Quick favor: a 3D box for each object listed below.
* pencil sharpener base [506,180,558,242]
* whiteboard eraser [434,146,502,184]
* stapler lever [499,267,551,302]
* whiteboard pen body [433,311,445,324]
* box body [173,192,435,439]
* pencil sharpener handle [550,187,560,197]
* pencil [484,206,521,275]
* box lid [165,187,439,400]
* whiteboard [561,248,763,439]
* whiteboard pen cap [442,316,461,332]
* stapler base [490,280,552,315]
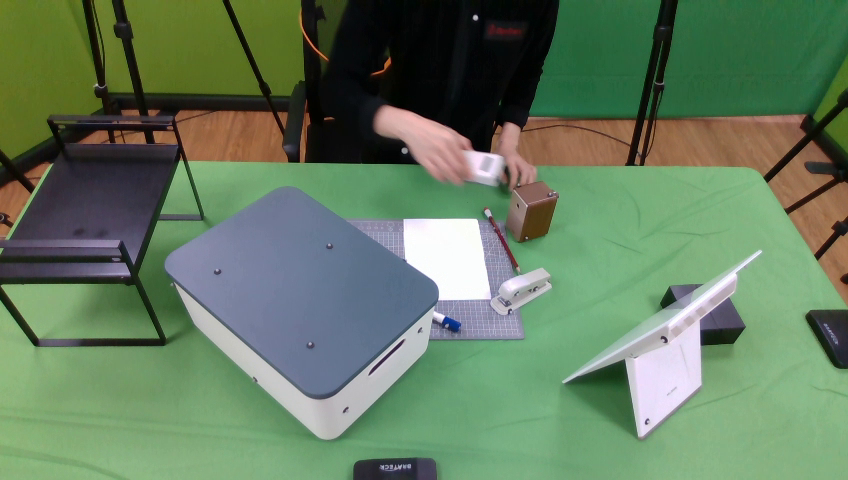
[{"bbox_3d":[0.216,-0.058,1.211,0.077,0.107,0.061,-16,49,-19],"label":"pencil sharpener base"},{"bbox_3d":[0.077,-0.130,1.066,0.112,0.042,0.055,11,59,23],"label":"whiteboard eraser"},{"bbox_3d":[0.185,0.076,1.101,0.118,0.040,0.026,-25,57,-29],"label":"stapler lever"},{"bbox_3d":[-0.004,0.123,1.074,0.140,0.017,0.017,24,49,15],"label":"whiteboard pen body"},{"bbox_3d":[-0.191,0.110,0.979,0.362,0.161,0.254,33,53,24],"label":"box body"},{"bbox_3d":[0.261,-0.084,1.221,0.031,0.068,0.036,-16,66,-19],"label":"pencil sharpener handle"},{"bbox_3d":[0.157,-0.002,1.217,0.012,0.012,0.192,-10,48,-14],"label":"pencil"},{"bbox_3d":[-0.186,0.060,0.925,0.370,0.015,0.263,32,53,25],"label":"box lid"},{"bbox_3d":[0.386,0.176,0.905,0.217,0.306,0.143,-26,72,-27],"label":"whiteboard"},{"bbox_3d":[0.048,0.146,1.059,0.033,0.018,0.018,24,49,16],"label":"whiteboard pen cap"},{"bbox_3d":[0.181,0.094,1.118,0.130,0.024,0.041,-24,57,-29],"label":"stapler base"}]
